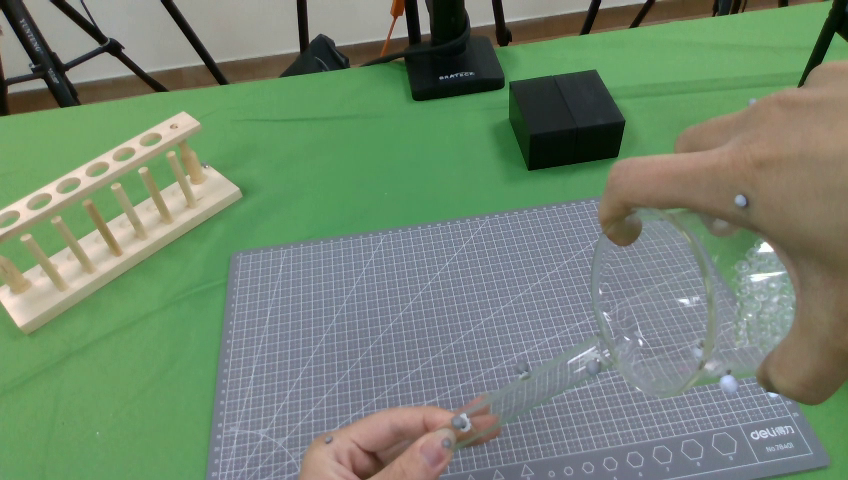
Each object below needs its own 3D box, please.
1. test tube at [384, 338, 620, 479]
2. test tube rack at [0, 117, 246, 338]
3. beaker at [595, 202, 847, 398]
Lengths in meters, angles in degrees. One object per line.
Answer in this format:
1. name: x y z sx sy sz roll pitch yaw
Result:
1. test tube: 0.032 0.090 0.303 0.150 0.017 0.017 -38 39 28
2. test tube rack: -0.308 -0.019 0.602 0.066 0.086 0.242 34 58 31
3. beaker: 0.133 0.023 0.251 0.100 0.084 0.073 -5 53 -15
